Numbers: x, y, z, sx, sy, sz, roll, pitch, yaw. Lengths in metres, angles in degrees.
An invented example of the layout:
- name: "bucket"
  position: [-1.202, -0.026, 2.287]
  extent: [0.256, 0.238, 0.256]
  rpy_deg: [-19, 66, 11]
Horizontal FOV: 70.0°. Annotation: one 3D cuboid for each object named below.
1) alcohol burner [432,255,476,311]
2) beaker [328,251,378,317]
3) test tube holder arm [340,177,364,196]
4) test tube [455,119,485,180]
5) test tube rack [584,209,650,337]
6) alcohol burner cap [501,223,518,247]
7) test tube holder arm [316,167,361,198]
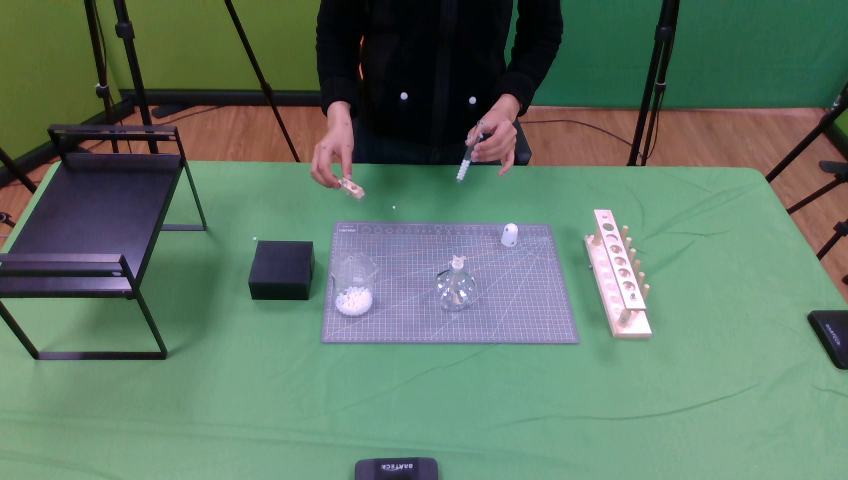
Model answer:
- name: "alcohol burner"
  position: [0.055, 0.070, 1.068]
  extent: [0.078, 0.119, 0.077]
  rpy_deg: [3, 45, -3]
- name: "beaker"
  position: [-0.123, 0.079, 1.055]
  extent: [0.084, 0.101, 0.073]
  rpy_deg: [0, 47, -5]
- name: "test tube holder arm"
  position: [-0.134, -0.097, 1.096]
  extent: [0.010, 0.015, 0.087]
  rpy_deg: [-29, 33, -22]
- name: "test tube"
  position: [0.084, -0.164, 1.123]
  extent: [0.017, 0.151, 0.017]
  rpy_deg: [8, 52, -10]
- name: "test tube rack"
  position: [0.365, 0.056, 1.129]
  extent: [0.067, 0.085, 0.240]
  rpy_deg: [1, 46, -4]
- name: "alcohol burner cap"
  position: [0.172, -0.013, 1.206]
  extent: [0.034, 0.048, 0.033]
  rpy_deg: [1, 45, -1]
- name: "test tube holder arm"
  position: [-0.163, -0.109, 1.128]
  extent: [0.013, 0.015, 0.177]
  rpy_deg: [-29, 33, -23]
